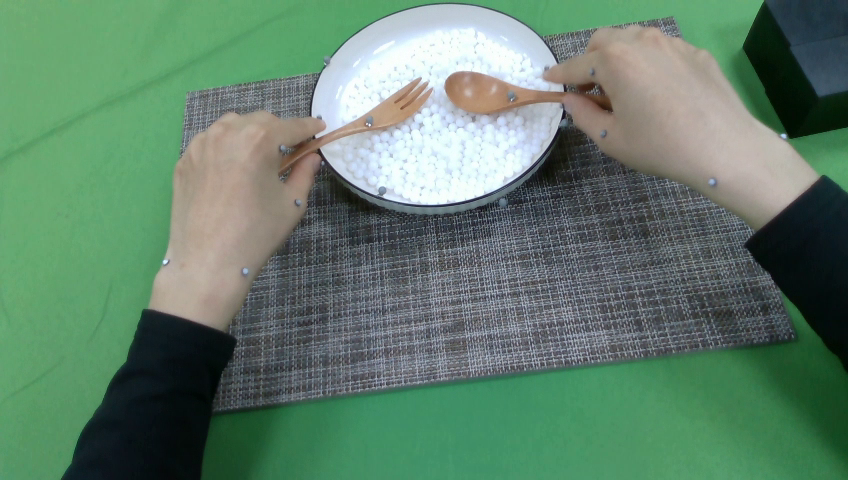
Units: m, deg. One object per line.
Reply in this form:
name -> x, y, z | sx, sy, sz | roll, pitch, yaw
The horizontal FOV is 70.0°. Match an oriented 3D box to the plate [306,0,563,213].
plate -> 0.008, -0.110, 0.502 | 0.209, 0.038, 0.207 | -3, 64, 6

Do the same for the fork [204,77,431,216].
fork -> -0.081, -0.076, 0.481 | 0.207, 0.019, 0.028 | -32, 60, -18

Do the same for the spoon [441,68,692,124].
spoon -> 0.105, -0.109, 0.470 | 0.193, 0.022, 0.041 | 12, 63, 21
